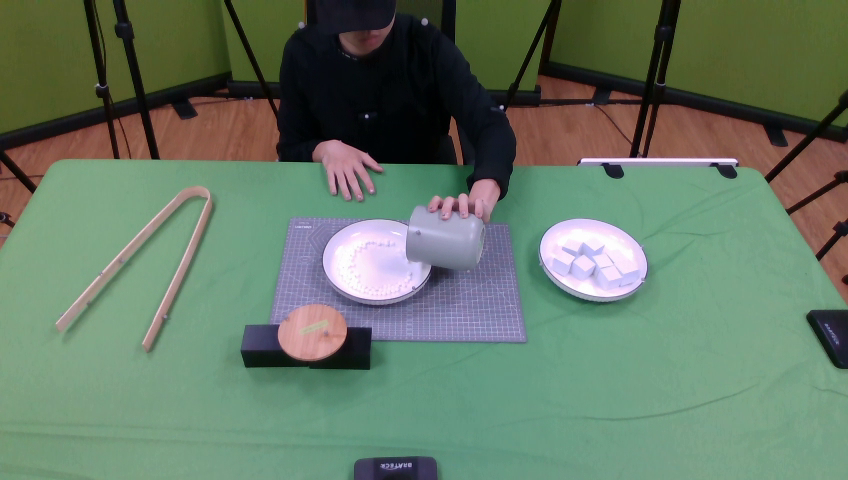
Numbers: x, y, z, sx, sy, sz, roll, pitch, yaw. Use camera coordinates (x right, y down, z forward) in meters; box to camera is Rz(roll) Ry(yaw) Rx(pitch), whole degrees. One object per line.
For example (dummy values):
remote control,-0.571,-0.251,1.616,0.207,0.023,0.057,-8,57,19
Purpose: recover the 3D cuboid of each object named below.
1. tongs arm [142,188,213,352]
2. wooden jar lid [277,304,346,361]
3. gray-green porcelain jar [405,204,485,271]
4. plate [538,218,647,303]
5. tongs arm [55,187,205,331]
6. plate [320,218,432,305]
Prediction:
tongs arm,-0.450,0.040,1.122,0.028,0.028,0.385,2,46,1
wooden jar lid,-0.179,0.150,0.972,0.108,0.021,0.107,2,45,-2
gray-green porcelain jar,0.040,-0.003,1.088,0.126,0.106,0.105,10,46,12
plate,0.322,0.043,1.171,0.208,0.039,0.206,2,46,-2
tongs arm,-0.530,0.022,1.126,0.051,0.026,0.383,15,46,8
plate,-0.089,0.044,1.134,0.209,0.038,0.208,3,46,-2
